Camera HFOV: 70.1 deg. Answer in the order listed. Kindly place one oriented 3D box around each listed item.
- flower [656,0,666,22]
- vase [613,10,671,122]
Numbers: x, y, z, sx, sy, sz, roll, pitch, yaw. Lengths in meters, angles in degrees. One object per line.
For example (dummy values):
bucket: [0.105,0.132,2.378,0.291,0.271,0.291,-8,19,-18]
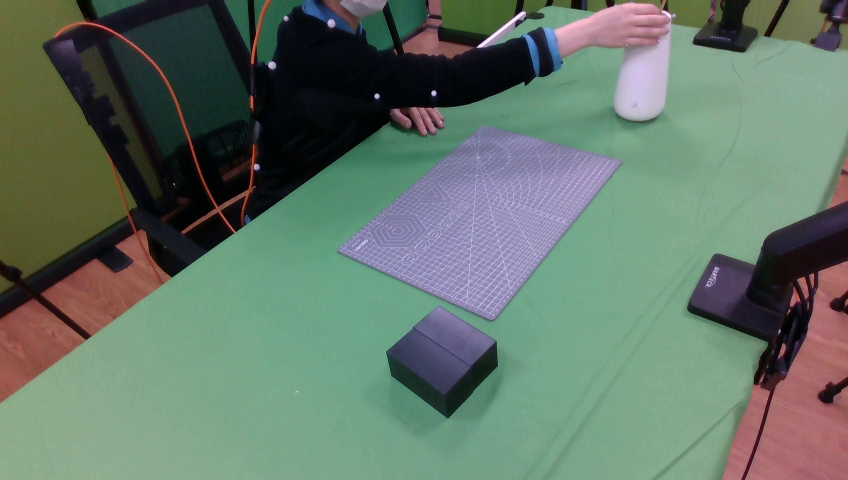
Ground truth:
flower: [0.427,-0.399,1.109,0.038,0.362,0.043,-14,38,-31]
vase: [0.419,-0.326,1.151,0.098,0.201,0.097,-4,42,4]
